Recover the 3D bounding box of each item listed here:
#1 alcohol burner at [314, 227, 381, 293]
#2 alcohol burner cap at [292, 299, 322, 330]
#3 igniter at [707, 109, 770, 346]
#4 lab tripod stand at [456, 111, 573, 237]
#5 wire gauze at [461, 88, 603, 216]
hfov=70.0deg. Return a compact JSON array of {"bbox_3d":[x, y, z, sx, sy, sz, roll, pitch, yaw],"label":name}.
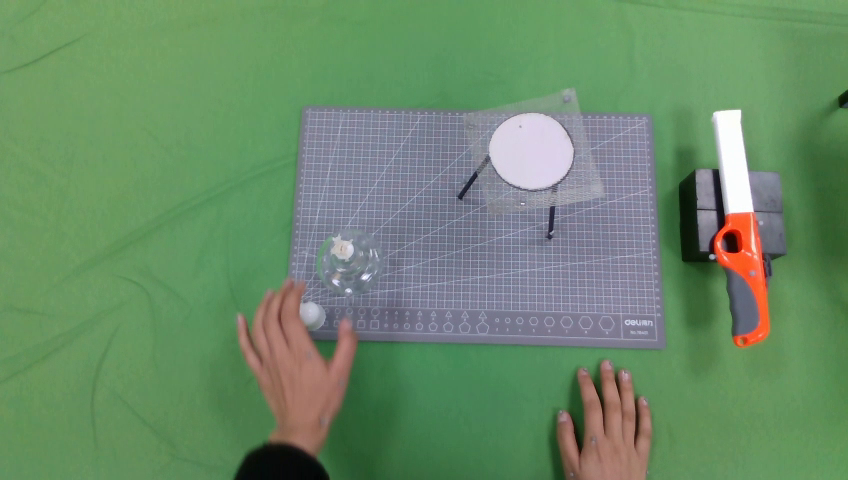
[{"bbox_3d":[-0.087,0.019,0.677,0.078,0.119,0.077,0,78,-1],"label":"alcohol burner"},{"bbox_3d":[-0.137,0.084,0.697,0.034,0.048,0.033,0,73,-1],"label":"alcohol burner cap"},{"bbox_3d":[0.354,-0.019,0.688,0.057,0.025,0.275,-2,75,11],"label":"igniter"},{"bbox_3d":[0.111,-0.081,0.692,0.148,0.132,0.147,0,74,1],"label":"lab tripod stand"},{"bbox_3d":[0.110,-0.091,0.626,0.125,0.011,0.121,-11,76,-3],"label":"wire gauze"}]
